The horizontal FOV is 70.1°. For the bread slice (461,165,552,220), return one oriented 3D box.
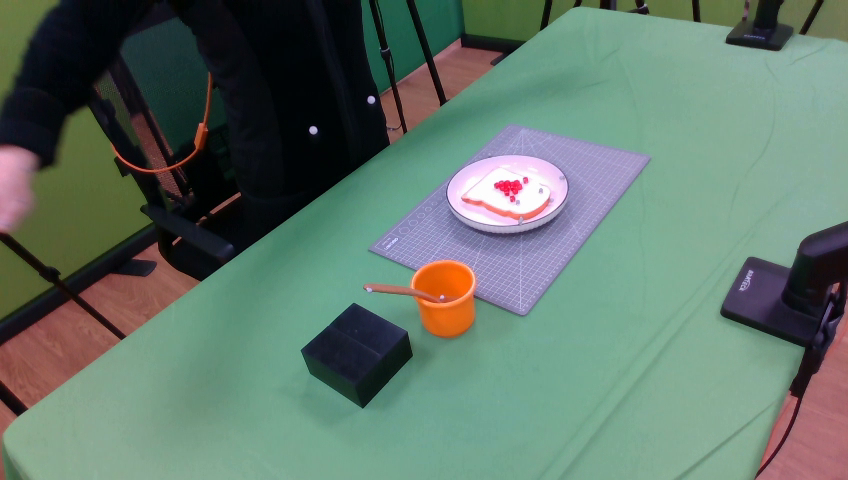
[{"bbox_3d":[0.149,-0.079,1.036,0.133,0.018,0.107,22,50,31],"label":"bread slice"}]

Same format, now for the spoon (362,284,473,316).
[{"bbox_3d":[-0.005,0.075,0.800,0.021,0.195,0.041,-55,45,16],"label":"spoon"}]

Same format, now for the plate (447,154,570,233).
[{"bbox_3d":[0.143,-0.076,1.032,0.209,0.038,0.208,-5,40,5],"label":"plate"}]
